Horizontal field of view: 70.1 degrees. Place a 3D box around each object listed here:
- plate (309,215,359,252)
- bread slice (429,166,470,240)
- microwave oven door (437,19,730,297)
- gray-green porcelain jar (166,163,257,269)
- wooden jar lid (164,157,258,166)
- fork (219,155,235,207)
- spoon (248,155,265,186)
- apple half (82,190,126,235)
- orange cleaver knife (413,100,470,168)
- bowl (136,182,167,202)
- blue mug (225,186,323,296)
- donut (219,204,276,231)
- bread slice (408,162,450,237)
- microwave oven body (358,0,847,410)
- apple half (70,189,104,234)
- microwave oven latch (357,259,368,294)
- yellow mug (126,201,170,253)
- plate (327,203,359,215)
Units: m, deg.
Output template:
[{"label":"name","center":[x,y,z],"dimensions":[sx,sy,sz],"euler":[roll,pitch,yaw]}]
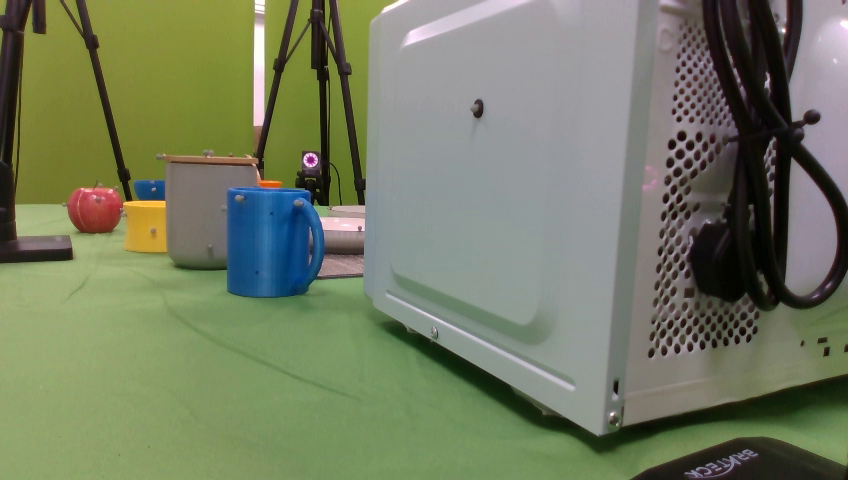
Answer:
[{"label":"plate","center":[-0.130,-0.011,0.945],"dimensions":[0.208,0.039,0.207],"euler":[2,7,0]},{"label":"bread slice","center":[0.048,-0.065,1.063],"dimensions":[0.019,0.131,0.105],"euler":[6,8,38]},{"label":"microwave oven door","center":[0.181,-0.076,0.618],"dimensions":[0.358,0.243,0.039],"euler":[-2,9,-28]},{"label":"gray-green porcelain jar","center":[-0.263,-0.031,0.754],"dimensions":[0.106,0.126,0.106],"euler":[2,7,0]},{"label":"wooden jar lid","center":[-0.261,-0.093,0.746],"dimensions":[0.108,0.020,0.108],"euler":[0,9,0]},{"label":"fork","center":[-0.459,-0.134,1.415],"dimensions":[0.028,0.018,0.207],"euler":[-1,-34,-25]},{"label":"spoon","center":[-0.417,-0.150,1.543],"dimensions":[0.042,0.193,0.021],"euler":[-3,-35,-34]},{"label":"apple half","center":[-0.516,-0.046,0.994],"dimensions":[0.032,0.081,0.081],"euler":[0,6,26]},{"label":"orange cleaver knife","center":[0.036,-0.179,1.129],"dimensions":[0.012,0.077,0.212],"euler":[-2,-27,30]},{"label":"bowl","center":[-0.497,-0.076,1.221],"dimensions":[0.151,0.077,0.151],"euler":[2,8,0]},{"label":"blue mug","center":[-0.148,0.000,0.618],"dimensions":[0.116,0.106,0.083],"euler":[7,9,33]},{"label":"donut","center":[-0.316,-0.039,1.083],"dimensions":[0.099,0.048,0.099],"euler":[2,7,0]},{"label":"bread slice","center":[0.011,-0.073,1.100],"dimensions":[0.018,0.134,0.107],"euler":[1,3,38]},{"label":"microwave oven body","center":[0.210,-0.051,0.471],"dimensions":[0.444,0.260,0.324],"euler":[-1,7,-28]},{"label":"apple half","center":[-0.552,-0.048,1.010],"dimensions":[0.053,0.074,0.081],"euler":[-1,9,26]},{"label":"microwave oven latch","center":[-0.019,0.031,0.530],"dimensions":[0.079,0.029,0.030],"euler":[-1,7,-27]},{"label":"yellow mug","center":[-0.361,-0.019,0.866],"dimensions":[0.130,0.064,0.100],"euler":[6,9,27]},{"label":"plate","center":[-0.102,-0.053,1.299],"dimensions":[0.209,0.038,0.209],"euler":[2,8,0]}]
